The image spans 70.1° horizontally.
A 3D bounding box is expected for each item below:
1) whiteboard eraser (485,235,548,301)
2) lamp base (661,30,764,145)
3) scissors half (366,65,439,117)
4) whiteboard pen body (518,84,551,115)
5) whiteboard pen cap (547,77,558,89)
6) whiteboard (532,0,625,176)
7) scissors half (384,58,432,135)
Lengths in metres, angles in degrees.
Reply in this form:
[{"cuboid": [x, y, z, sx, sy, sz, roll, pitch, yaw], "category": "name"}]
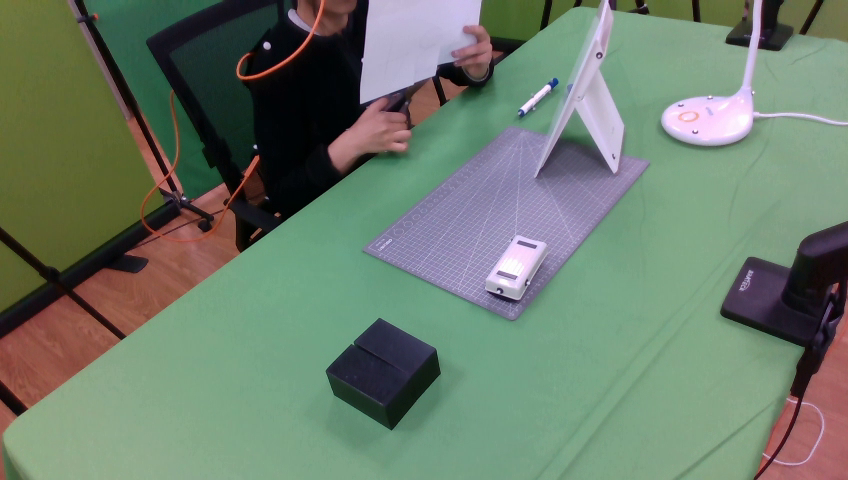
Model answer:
[{"cuboid": [0.137, 0.042, 0.887, 0.055, 0.042, 0.113, 15, 45, 27], "category": "whiteboard eraser"}, {"cuboid": [0.535, -0.287, 1.096, 0.179, 0.181, 0.159, -10, 40, -4], "category": "lamp base"}, {"cuboid": [-0.044, -0.293, 1.174, 0.174, 0.040, 0.013, -25, 16, 24], "category": "scissors half"}, {"cuboid": [0.242, -0.306, 1.290, 0.017, 0.017, 0.141, 24, 52, 33], "category": "whiteboard pen body"}, {"cuboid": [0.279, -0.341, 1.321, 0.018, 0.018, 0.033, 22, 51, 31], "category": "whiteboard pen cap"}, {"cuboid": [0.320, -0.259, 1.050, 0.144, 0.306, 0.217, 21, 45, 5], "category": "whiteboard"}, {"cuboid": [-0.027, -0.277, 1.177, 0.040, 0.175, 0.013, 28, 29, -4], "category": "scissors half"}]
